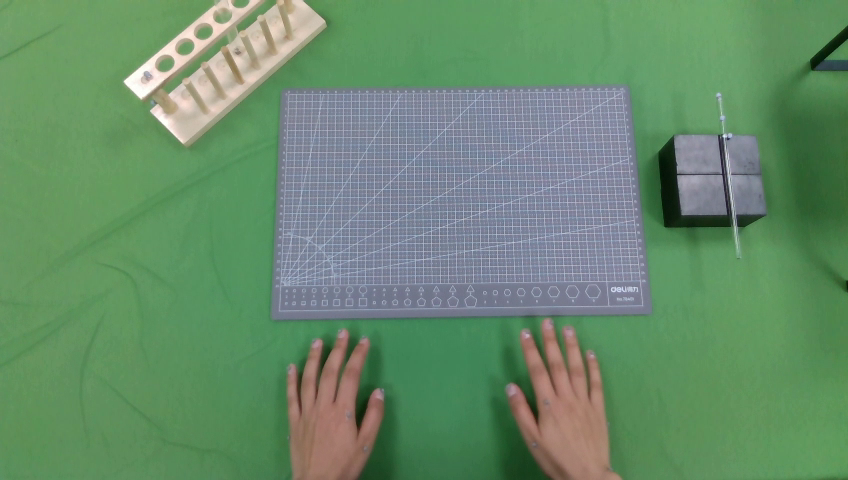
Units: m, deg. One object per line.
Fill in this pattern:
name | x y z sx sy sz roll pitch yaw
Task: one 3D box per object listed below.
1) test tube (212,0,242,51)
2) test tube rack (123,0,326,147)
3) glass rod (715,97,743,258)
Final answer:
test tube | -0.235 -0.270 0.707 0.017 0.151 0.017 1 72 -4
test tube rack | -0.237 -0.233 0.749 0.066 0.085 0.242 43 79 10
glass rod | 0.354 -0.076 0.705 0.008 0.008 0.198 -1 76 -1
